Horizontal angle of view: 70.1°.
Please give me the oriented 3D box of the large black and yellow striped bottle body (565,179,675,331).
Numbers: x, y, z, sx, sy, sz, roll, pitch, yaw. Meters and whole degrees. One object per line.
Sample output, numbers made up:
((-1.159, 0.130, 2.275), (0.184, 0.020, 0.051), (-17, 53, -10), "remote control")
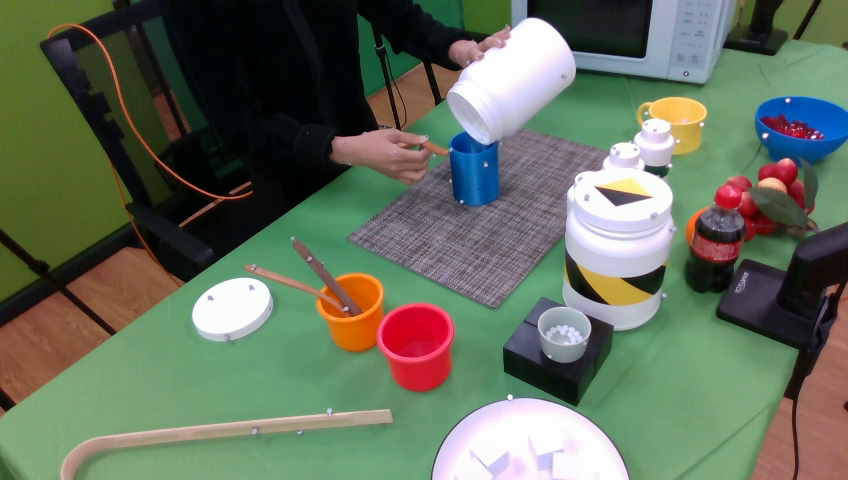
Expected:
((0.254, 0.014, 0.793), (0.131, 0.185, 0.130), (-5, 40, 4), "large black and yellow striped bottle body")

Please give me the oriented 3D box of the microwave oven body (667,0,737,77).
((0.462, -0.552, 1.369), (0.439, 0.261, 0.326), (15, 45, 26), "microwave oven body")

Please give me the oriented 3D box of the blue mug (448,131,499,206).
((0.089, -0.135, 1.051), (0.082, 0.106, 0.116), (1, 41, 11), "blue mug")

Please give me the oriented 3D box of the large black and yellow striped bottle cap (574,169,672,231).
((0.242, -0.051, 0.738), (0.115, 0.019, 0.114), (-4, 37, 3), "large black and yellow striped bottle cap")

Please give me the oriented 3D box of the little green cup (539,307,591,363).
((0.167, 0.114, 0.721), (0.061, 0.039, 0.061), (-4, 43, 4), "little green cup")

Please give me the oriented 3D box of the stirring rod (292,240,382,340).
((-0.119, 0.068, 0.825), (0.176, 0.006, 0.014), (49, 59, -3), "stirring rod")

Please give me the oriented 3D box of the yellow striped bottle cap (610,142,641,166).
((0.308, -0.131, 0.925), (0.044, 0.019, 0.044), (-4, 45, 4), "yellow striped bottle cap")

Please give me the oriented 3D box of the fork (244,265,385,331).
((-0.142, 0.078, 0.806), (0.209, 0.018, 0.028), (30, 34, -24), "fork")

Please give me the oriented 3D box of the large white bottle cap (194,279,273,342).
((-0.284, 0.103, 0.902), (0.115, 0.018, 0.114), (-4, 40, 4), "large white bottle cap")

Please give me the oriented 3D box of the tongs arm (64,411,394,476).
((-0.228, 0.241, 0.715), (0.385, 0.026, 0.050), (-5, 44, 4), "tongs arm")

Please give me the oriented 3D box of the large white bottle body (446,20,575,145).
((0.139, -0.253, 0.989), (0.185, 0.131, 0.129), (-41, 47, -9), "large white bottle body")

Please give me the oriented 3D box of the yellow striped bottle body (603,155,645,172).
((0.314, -0.091, 0.958), (0.063, 0.121, 0.062), (-4, 40, 4), "yellow striped bottle body")

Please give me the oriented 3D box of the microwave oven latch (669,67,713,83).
((0.556, -0.348, 1.261), (0.078, 0.029, 0.030), (16, 46, 27), "microwave oven latch")

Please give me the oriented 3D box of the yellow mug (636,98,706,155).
((0.453, -0.217, 1.129), (0.100, 0.064, 0.129), (-34, 46, -27), "yellow mug")

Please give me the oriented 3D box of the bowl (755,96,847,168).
((0.645, -0.177, 1.041), (0.151, 0.077, 0.150), (-5, 40, 4), "bowl")

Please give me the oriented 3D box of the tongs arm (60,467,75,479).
((-0.239, 0.301, 0.649), (0.386, 0.028, 0.028), (6, 49, 16), "tongs arm")

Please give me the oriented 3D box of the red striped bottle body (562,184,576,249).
((0.247, -0.041, 0.910), (0.063, 0.120, 0.062), (0, 38, 1), "red striped bottle body")

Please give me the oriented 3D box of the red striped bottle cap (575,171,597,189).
((0.242, -0.081, 0.876), (0.044, 0.018, 0.044), (-5, 44, 5), "red striped bottle cap")

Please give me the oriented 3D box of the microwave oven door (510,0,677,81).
((0.354, -0.478, 1.290), (0.353, 0.245, 0.039), (15, 45, 25), "microwave oven door")

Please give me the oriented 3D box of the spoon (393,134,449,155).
((-0.006, -0.154, 0.976), (0.042, 0.022, 0.192), (-22, 20, -16), "spoon")

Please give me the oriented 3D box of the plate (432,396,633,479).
((0.112, 0.261, 0.635), (0.209, 0.038, 0.208), (-5, 40, 4), "plate")

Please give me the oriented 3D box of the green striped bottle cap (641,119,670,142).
((0.371, -0.175, 0.968), (0.044, 0.020, 0.044), (-4, 42, 4), "green striped bottle cap")

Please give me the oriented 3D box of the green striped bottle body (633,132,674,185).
((0.376, -0.135, 1.001), (0.063, 0.120, 0.063), (-5, 41, 5), "green striped bottle body")
